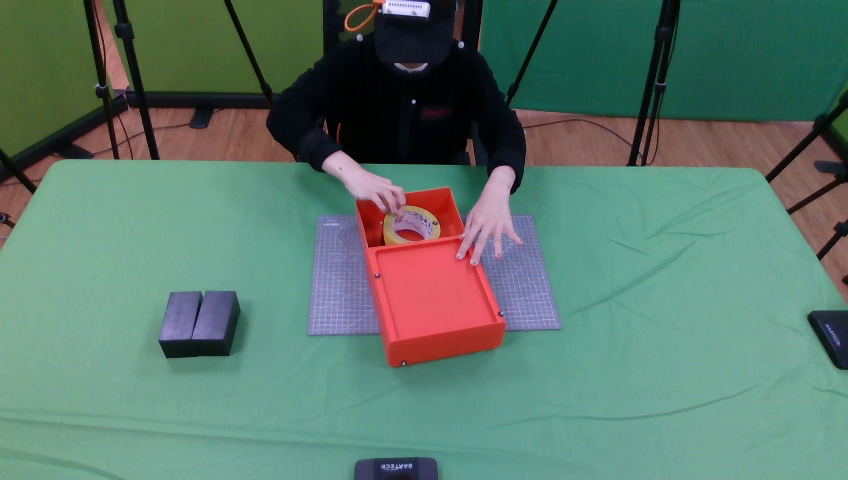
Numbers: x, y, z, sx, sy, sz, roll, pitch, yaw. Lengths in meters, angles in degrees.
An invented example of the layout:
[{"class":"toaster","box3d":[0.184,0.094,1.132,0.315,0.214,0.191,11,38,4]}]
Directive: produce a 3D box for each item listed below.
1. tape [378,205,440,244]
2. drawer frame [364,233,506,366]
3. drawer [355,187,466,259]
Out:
[{"class":"tape","box3d":[-0.026,-0.009,1.161,0.117,0.053,0.116,7,49,-8]},{"class":"drawer frame","box3d":[0.013,0.097,1.058,0.202,0.083,0.212,-8,48,-13]},{"class":"drawer","box3d":[-0.020,0.000,1.155,0.195,0.073,0.210,-7,47,-11]}]
